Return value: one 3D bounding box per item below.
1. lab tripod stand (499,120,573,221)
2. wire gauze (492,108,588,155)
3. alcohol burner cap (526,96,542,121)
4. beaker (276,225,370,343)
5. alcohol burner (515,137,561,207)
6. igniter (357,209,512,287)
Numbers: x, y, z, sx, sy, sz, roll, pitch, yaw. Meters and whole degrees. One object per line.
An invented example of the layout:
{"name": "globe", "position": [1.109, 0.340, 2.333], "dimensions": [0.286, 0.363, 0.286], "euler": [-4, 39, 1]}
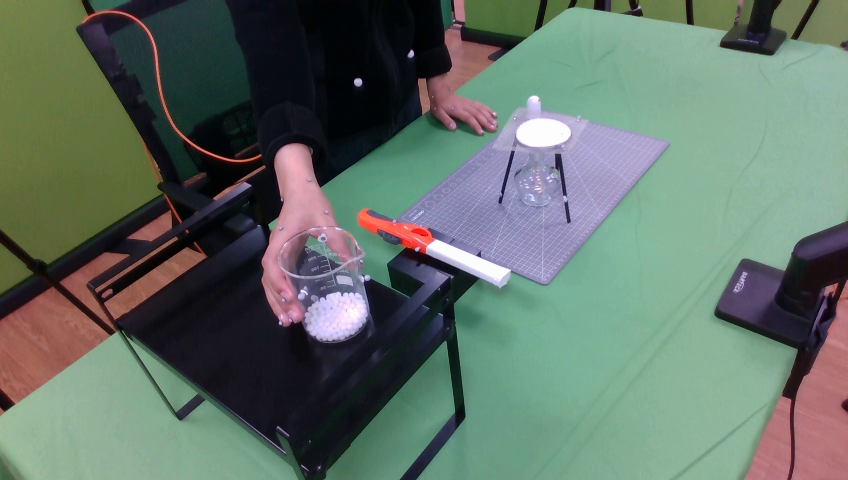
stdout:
{"name": "lab tripod stand", "position": [0.198, -0.117, 0.993], "dimensions": [0.148, 0.132, 0.147], "euler": [-3, 40, 3]}
{"name": "wire gauze", "position": [0.185, -0.170, 0.953], "dimensions": [0.121, 0.011, 0.125], "euler": [13, 44, 22]}
{"name": "alcohol burner cap", "position": [0.225, -0.272, 1.243], "dimensions": [0.034, 0.048, 0.033], "euler": [-5, 41, 5]}
{"name": "beaker", "position": [-0.092, 0.046, 0.595], "dimensions": [0.084, 0.101, 0.073], "euler": [-2, 41, 6]}
{"name": "alcohol burner", "position": [0.189, -0.116, 1.008], "dimensions": [0.078, 0.119, 0.077], "euler": [-6, 39, 5]}
{"name": "igniter", "position": [0.004, 0.006, 0.891], "dimensions": [0.274, 0.025, 0.057], "euler": [23, 38, 30]}
